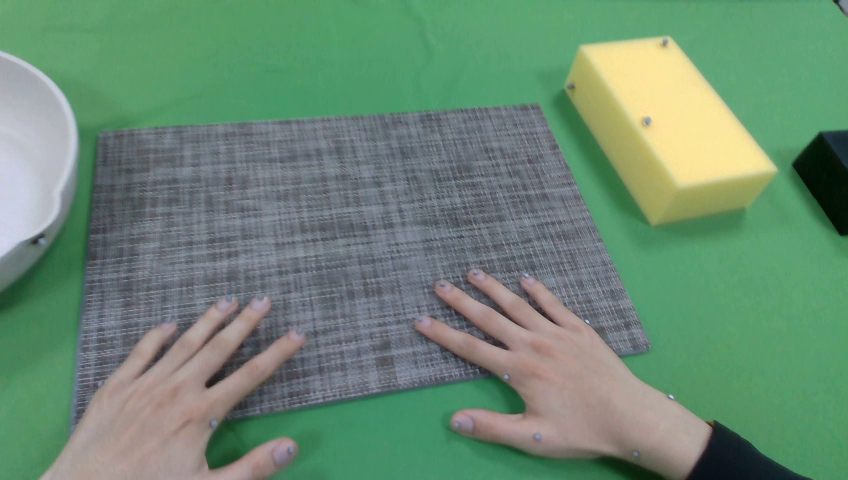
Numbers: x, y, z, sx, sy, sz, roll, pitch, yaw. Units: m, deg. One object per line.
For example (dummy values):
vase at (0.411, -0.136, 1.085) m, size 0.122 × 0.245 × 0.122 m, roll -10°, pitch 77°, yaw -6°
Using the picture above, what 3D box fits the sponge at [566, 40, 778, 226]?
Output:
sponge at (0.253, -0.120, 0.641) m, size 0.118 × 0.061 × 0.204 m, roll -11°, pitch 58°, yaw -16°

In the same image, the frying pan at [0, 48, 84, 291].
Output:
frying pan at (-0.447, 0.026, 0.406) m, size 0.306 × 0.103 × 0.484 m, roll 17°, pitch 46°, yaw 5°
